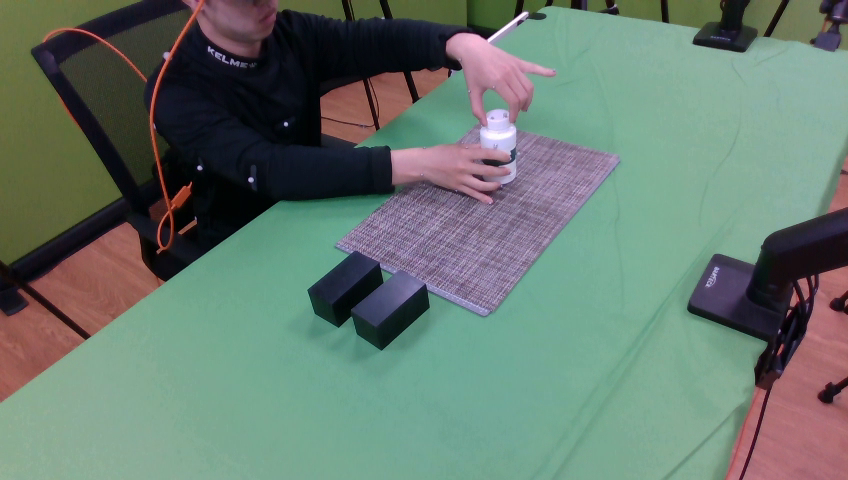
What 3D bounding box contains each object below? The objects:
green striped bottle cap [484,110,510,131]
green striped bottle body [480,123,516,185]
[{"bbox_3d":[0.123,-0.203,1.022,0.044,0.020,0.044,-3,36,3],"label":"green striped bottle cap"},{"bbox_3d":[0.130,-0.162,1.057,0.063,0.120,0.063,-4,40,4],"label":"green striped bottle body"}]
